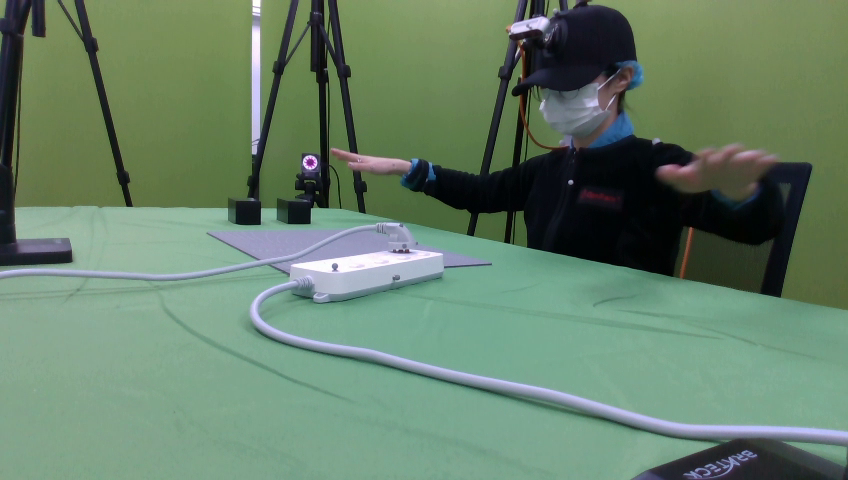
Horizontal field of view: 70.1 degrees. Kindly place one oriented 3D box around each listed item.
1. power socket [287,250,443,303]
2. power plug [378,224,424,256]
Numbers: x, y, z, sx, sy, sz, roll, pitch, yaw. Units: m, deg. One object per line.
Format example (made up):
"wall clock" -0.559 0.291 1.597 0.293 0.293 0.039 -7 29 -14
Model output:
"power socket" -0.059 0.035 0.688 0.072 0.032 0.228 6 8 34
"power plug" -0.025 0.009 0.729 0.053 0.035 0.072 5 27 -23
